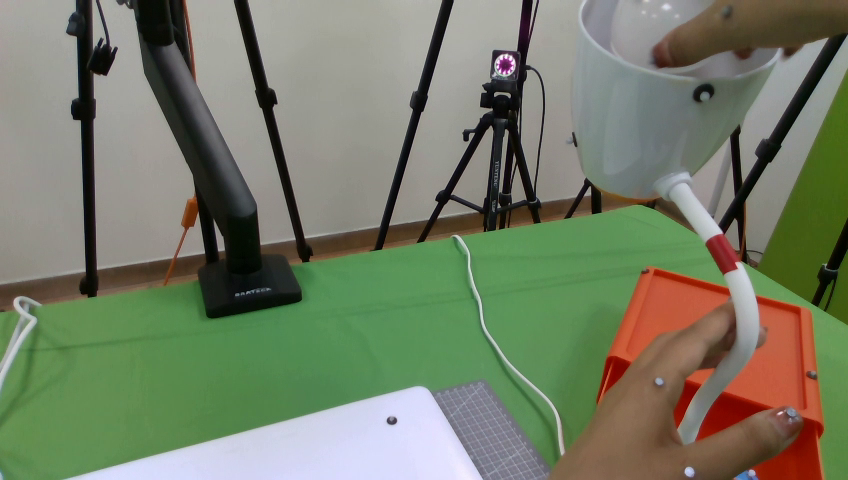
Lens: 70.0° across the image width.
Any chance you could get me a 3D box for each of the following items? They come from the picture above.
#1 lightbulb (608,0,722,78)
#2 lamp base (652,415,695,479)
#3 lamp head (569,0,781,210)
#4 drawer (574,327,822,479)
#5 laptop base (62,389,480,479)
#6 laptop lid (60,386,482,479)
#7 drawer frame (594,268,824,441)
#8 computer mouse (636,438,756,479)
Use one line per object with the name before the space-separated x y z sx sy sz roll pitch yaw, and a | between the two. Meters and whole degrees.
lightbulb | 0.135 -0.104 0.357 0.059 0.108 0.059 -2 53 4
lamp base | 0.163 0.219 0.395 0.161 0.181 0.177 1 26 -8
lamp head | 0.143 -0.079 0.377 0.112 0.124 0.111 -1 43 1
drawer | 0.268 0.180 0.593 0.193 0.074 0.211 14 30 21
laptop base | -0.115 0.244 0.490 0.355 0.023 0.233 -9 34 -23
laptop lid | -0.114 0.234 0.483 0.358 0.013 0.239 -9 33 -21
drawer frame | 0.318 0.132 0.681 0.200 0.083 0.213 15 30 21
computer mouse | 0.247 0.219 0.547 0.117 0.041 0.062 15 30 13
